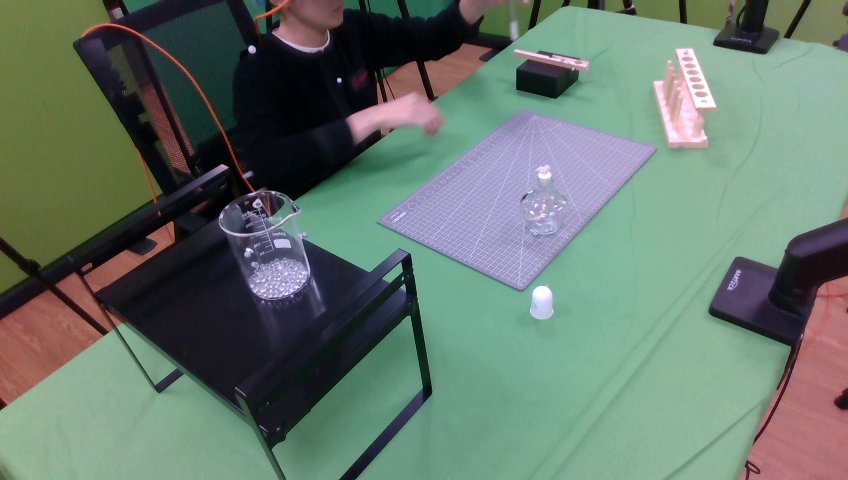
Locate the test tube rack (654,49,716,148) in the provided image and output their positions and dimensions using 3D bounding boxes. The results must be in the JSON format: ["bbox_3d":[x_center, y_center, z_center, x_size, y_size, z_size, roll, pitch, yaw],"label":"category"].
[{"bbox_3d":[0.502,-0.281,1.176,0.066,0.085,0.241,2,41,11],"label":"test tube rack"}]

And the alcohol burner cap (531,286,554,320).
[{"bbox_3d":[0.164,0.084,0.838,0.034,0.048,0.033,-4,40,4],"label":"alcohol burner cap"}]

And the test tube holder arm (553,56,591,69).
[{"bbox_3d":[0.315,-0.380,1.297,0.087,0.015,0.010,22,58,32],"label":"test tube holder arm"}]

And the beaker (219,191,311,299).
[{"bbox_3d":[-0.164,0.008,0.654,0.084,0.101,0.073,-9,41,-3],"label":"beaker"}]

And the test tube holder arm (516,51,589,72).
[{"bbox_3d":[0.277,-0.391,1.318,0.177,0.015,0.013,22,58,32],"label":"test tube holder arm"}]

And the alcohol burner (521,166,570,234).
[{"bbox_3d":[0.192,-0.068,0.951,0.078,0.119,0.077,-4,42,4],"label":"alcohol burner"}]

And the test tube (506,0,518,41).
[{"bbox_3d":[0.169,-0.461,1.177,0.017,0.151,0.017,-8,38,7],"label":"test tube"}]
